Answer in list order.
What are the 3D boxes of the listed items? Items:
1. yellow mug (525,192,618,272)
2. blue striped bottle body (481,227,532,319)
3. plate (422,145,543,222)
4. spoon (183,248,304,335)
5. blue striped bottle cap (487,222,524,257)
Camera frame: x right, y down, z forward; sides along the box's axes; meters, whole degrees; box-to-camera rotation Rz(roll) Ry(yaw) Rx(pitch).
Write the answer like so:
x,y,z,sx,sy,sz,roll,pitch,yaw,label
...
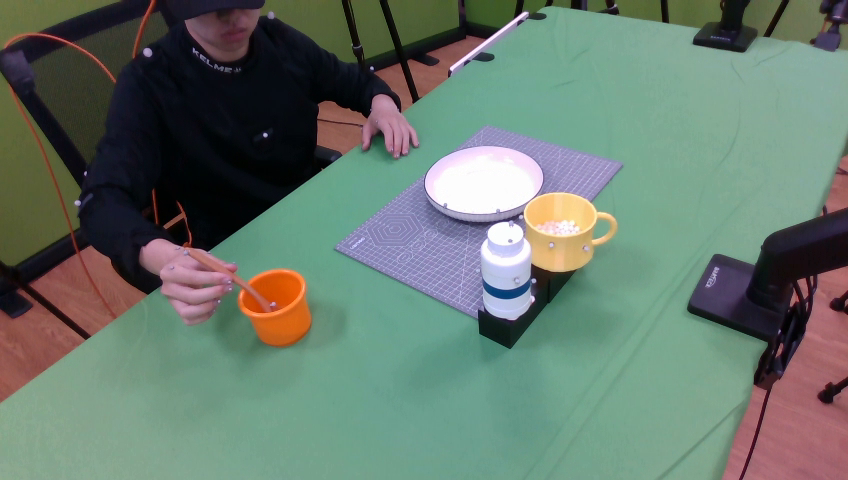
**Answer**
x,y,z,sx,sy,sz,roll,pitch,yaw,label
0.206,-0.014,0.845,0.131,0.064,0.099,-4,41,2,yellow mug
0.104,0.037,0.756,0.063,0.121,0.063,-4,40,4,blue striped bottle body
0.101,-0.094,1.048,0.207,0.039,0.206,-4,41,4,plate
-0.237,0.068,0.808,0.021,0.195,0.041,-34,29,20,spoon
0.097,-0.001,0.722,0.044,0.021,0.044,-2,39,2,blue striped bottle cap
